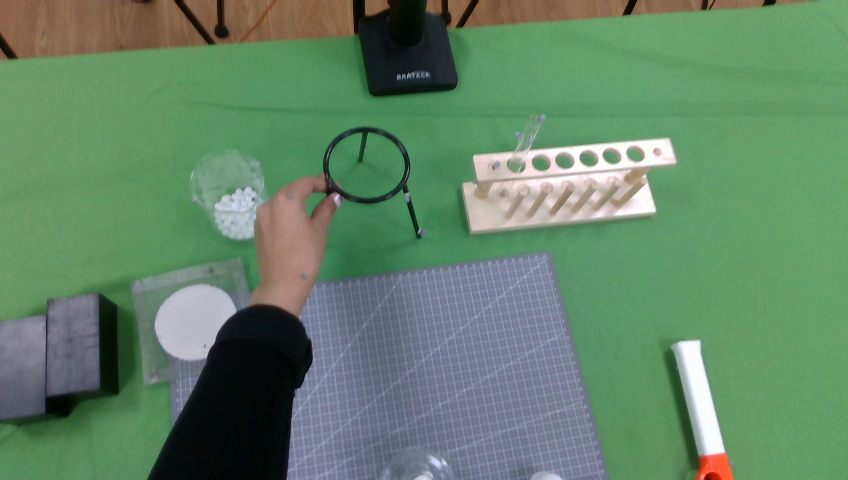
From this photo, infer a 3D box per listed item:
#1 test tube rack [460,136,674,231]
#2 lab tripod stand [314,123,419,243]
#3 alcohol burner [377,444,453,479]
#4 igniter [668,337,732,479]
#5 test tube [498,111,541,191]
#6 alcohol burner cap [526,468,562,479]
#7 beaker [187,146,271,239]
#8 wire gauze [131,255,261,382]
[{"bbox_3d":[0.173,-0.068,0.738,0.243,0.085,0.066,-6,71,-9],"label":"test tube rack"},{"bbox_3d":[-0.068,-0.062,0.681,0.148,0.132,0.147,2,69,-4],"label":"lab tripod stand"},{"bbox_3d":[-0.007,0.238,0.588,0.078,0.119,0.077,3,68,-7],"label":"alcohol burner"},{"bbox_3d":[0.318,0.246,0.674,0.057,0.025,0.274,0,70,-17],"label":"igniter"},{"bbox_3d":[0.105,-0.096,0.687,0.017,0.151,0.017,2,66,-5],"label":"test tube"},{"bbox_3d":[0.129,0.257,0.636,0.034,0.048,0.033,2,70,-5],"label":"alcohol burner cap"},{"bbox_3d":[-0.210,-0.047,0.676,0.074,0.100,0.083,-38,79,-17],"label":"beaker"},{"bbox_3d":[-0.253,0.084,0.669,0.125,0.011,0.120,-13,71,-10],"label":"wire gauze"}]
